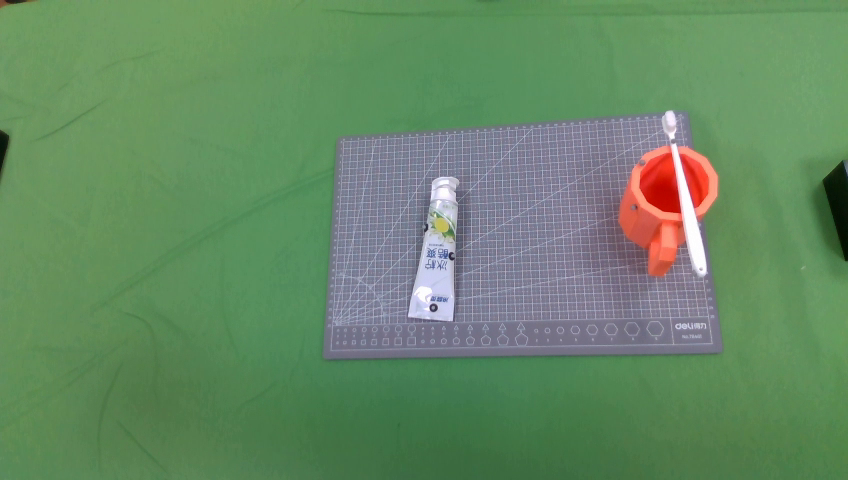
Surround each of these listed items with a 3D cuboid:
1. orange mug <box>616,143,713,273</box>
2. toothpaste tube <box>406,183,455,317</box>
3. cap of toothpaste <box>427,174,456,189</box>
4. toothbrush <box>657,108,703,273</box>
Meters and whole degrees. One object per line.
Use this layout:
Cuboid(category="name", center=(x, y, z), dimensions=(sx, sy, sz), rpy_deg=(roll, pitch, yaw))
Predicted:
Cuboid(category="orange mug", center=(0.260, -0.031, 0.665), dimensions=(0.083, 0.101, 0.125), rpy_deg=(6, 68, 11))
Cuboid(category="toothpaste tube", center=(0.012, 0.009, 0.730), dimensions=(0.055, 0.035, 0.164), rpy_deg=(2, 76, 15))
Cuboid(category="cap of toothpaste", center=(0.022, -0.070, 0.748), dimensions=(0.037, 0.037, 0.011), rpy_deg=(-8, 68, 6))
Cuboid(category="toothbrush", center=(0.261, -0.054, 0.616), dimensions=(0.014, 0.017, 0.180), rpy_deg=(-5, 71, 4))
